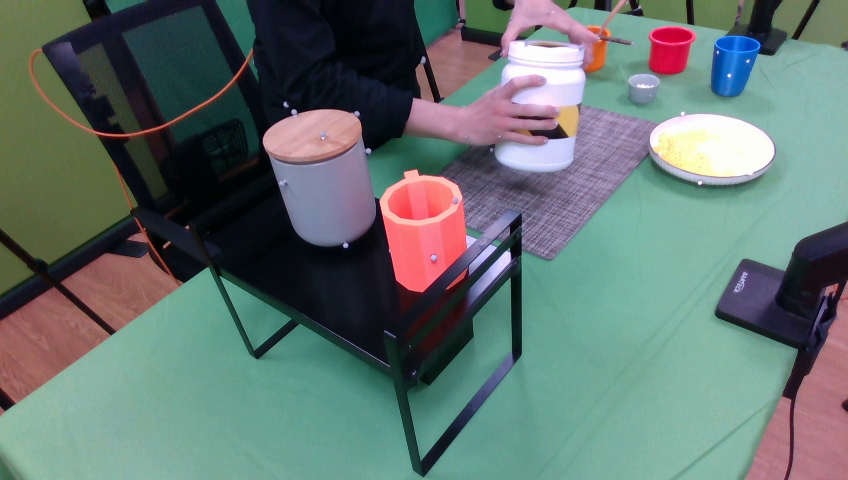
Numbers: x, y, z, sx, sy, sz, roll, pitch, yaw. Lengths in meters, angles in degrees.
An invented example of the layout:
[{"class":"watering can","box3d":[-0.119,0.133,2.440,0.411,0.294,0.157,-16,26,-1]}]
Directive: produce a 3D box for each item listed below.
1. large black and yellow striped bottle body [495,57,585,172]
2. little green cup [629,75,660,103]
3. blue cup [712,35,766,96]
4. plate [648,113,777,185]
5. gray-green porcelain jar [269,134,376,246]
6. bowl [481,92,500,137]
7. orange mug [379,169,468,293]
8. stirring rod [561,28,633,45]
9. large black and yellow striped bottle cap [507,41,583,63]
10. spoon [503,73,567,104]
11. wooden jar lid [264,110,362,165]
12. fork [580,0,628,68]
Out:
[{"class":"large black and yellow striped bottle body","box3d":[0.184,-0.215,0.967,0.131,0.184,0.130,2,26,0]},{"class":"little green cup","box3d":[0.458,-0.314,1.260,0.061,0.039,0.061,-4,40,4]},{"class":"blue cup","box3d":[0.627,-0.350,1.227,0.092,0.100,0.092,-4,39,4]},{"class":"plate","box3d":[0.506,-0.158,1.073,0.209,0.038,0.208,-5,40,4]},{"class":"gray-green porcelain jar","box3d":[-0.115,-0.064,0.715,0.106,0.127,0.105,-4,40,4]},{"class":"bowl","box3d":[0.187,-0.223,1.161,0.151,0.077,0.150,-4,40,4]},{"class":"orange mug","box3d":[-0.002,-0.019,0.665,0.083,0.101,0.125,-12,45,-4]},{"class":"stirring rod","box3d":[0.382,-0.453,1.345,0.174,0.006,0.014,27,52,33]},{"class":"large black and yellow striped bottle cap","box3d":[0.185,-0.290,0.930,0.115,0.019,0.114,3,25,-1]},{"class":"spoon","box3d":[0.250,-0.336,1.332,0.194,0.022,0.041,-32,32,-25]},{"class":"wooden jar lid","box3d":[-0.122,-0.112,0.673,0.108,0.021,0.108,-4,37,4]},{"class":"fork","box3d":[0.413,-0.481,1.377,0.207,0.019,0.028,-57,43,12]}]
